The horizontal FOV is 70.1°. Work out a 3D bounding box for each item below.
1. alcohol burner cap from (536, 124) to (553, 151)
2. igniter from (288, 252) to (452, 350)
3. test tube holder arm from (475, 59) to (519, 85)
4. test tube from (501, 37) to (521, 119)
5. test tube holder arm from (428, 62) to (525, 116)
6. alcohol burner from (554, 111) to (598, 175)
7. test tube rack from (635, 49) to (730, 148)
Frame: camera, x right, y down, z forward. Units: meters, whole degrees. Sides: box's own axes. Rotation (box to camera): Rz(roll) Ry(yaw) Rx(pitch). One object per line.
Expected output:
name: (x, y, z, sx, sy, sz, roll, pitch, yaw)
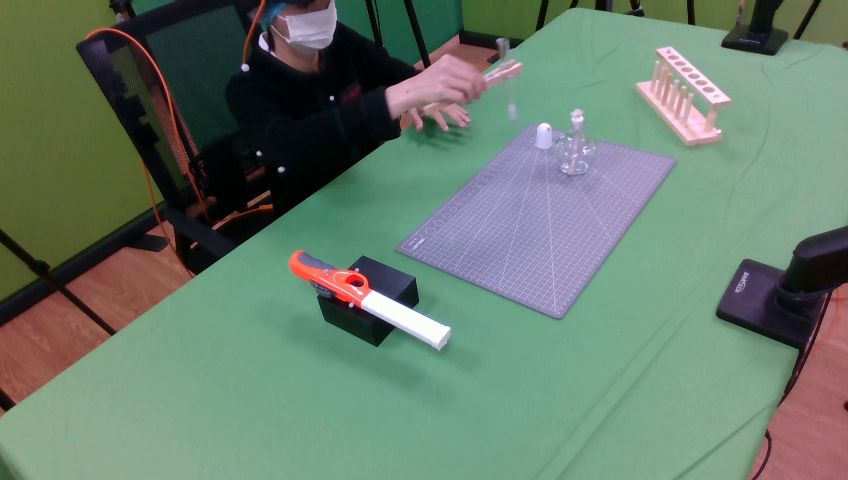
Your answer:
alcohol burner cap: (0.232, -0.199, 1.158, 0.034, 0.048, 0.033, -5, 40, 4)
igniter: (-0.084, 0.077, 0.821, 0.274, 0.025, 0.057, 23, 48, 27)
test tube holder arm: (0.118, -0.264, 0.967, 0.088, 0.015, 0.010, -35, 45, -21)
test tube: (0.143, -0.259, 0.985, 0.017, 0.151, 0.017, -8, 46, 9)
test tube holder arm: (0.084, -0.239, 0.950, 0.179, 0.015, 0.013, -30, 43, -16)
alcohol burner: (0.270, -0.175, 1.066, 0.078, 0.119, 0.077, -4, 42, 4)
test tube rack: (0.497, -0.283, 1.185, 0.067, 0.085, 0.240, -10, 40, -2)
